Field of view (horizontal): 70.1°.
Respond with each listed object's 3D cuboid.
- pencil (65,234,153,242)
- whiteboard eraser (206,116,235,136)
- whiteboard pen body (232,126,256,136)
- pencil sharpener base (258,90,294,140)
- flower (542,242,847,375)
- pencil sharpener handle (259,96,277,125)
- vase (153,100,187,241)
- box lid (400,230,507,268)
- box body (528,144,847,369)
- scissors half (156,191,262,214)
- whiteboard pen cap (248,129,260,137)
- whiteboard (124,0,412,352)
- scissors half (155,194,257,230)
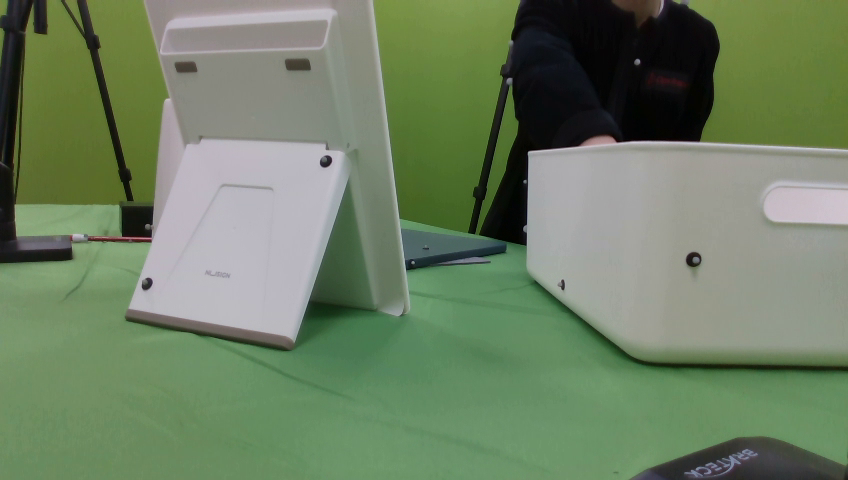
[{"bbox_3d":[-0.429,-0.001,0.910,0.195,0.012,0.012,1,7,-19],"label":"pencil"},{"bbox_3d":[-0.449,-0.251,1.335,0.056,0.042,0.112,1,7,-22],"label":"whiteboard eraser"},{"bbox_3d":[-0.407,-0.247,1.372,0.017,0.017,0.140,-3,13,-35],"label":"whiteboard pen body"},{"bbox_3d":[-0.341,-0.285,1.388,0.062,0.107,0.076,-3,9,-36],"label":"pencil sharpener base"},{"bbox_3d":[0.264,0.067,0.617,0.044,0.038,0.359,35,-7,-41],"label":"flower"},{"bbox_3d":[-0.373,-0.304,1.425,0.036,0.067,0.030,13,-1,-37],"label":"pencil sharpener handle"},{"bbox_3d":[-0.278,-0.066,0.736,0.098,0.200,0.098,2,9,0],"label":"vase"},{"bbox_3d":[-0.065,0.012,0.933,0.262,0.015,0.373,7,8,36],"label":"box lid"},{"bbox_3d":[0.257,-0.005,0.591,0.254,0.160,0.363,2,7,-4],"label":"box body"},{"bbox_3d":[-0.371,-0.068,1.051,0.176,0.040,0.013,2,25,-24],"label":"scissors half"},{"bbox_3d":[-0.373,-0.235,1.326,0.018,0.018,0.033,-3,12,-35],"label":"whiteboard pen cap"},{"bbox_3d":[-0.151,-0.049,0.472,0.216,0.305,0.144,6,27,24],"label":"whiteboard"},{"bbox_3d":[-0.378,-0.051,1.058,0.176,0.040,0.012,20,22,-31],"label":"scissors half"}]
